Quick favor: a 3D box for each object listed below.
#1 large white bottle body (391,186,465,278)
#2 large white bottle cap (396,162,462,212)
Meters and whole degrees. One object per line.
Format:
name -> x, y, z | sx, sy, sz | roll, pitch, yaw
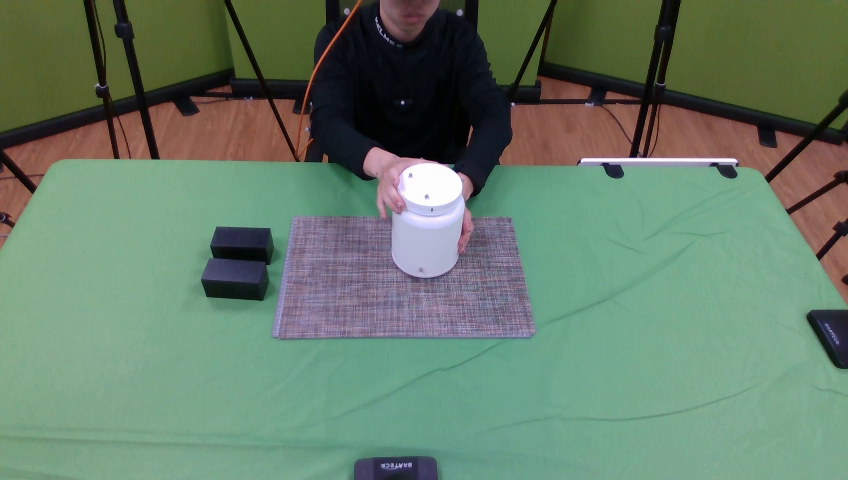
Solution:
large white bottle body -> 0.005, -0.034, 1.113 | 0.131, 0.185, 0.130 | 2, 46, -2
large white bottle cap -> 0.009, -0.094, 1.053 | 0.115, 0.018, 0.114 | 2, 46, -2
